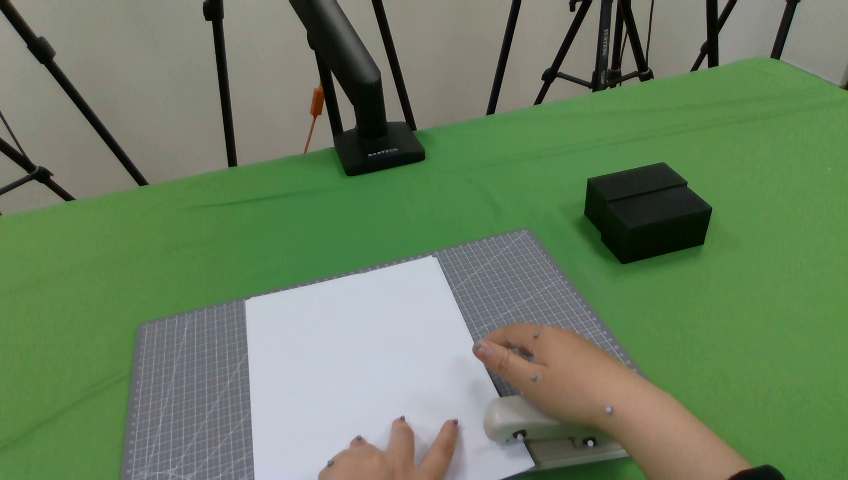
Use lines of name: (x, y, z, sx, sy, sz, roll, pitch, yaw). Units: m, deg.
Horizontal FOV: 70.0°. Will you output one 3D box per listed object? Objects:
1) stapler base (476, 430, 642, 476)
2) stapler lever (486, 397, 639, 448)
stapler base: (0.107, 0.157, 0.484, 0.131, 0.024, 0.041, -7, 40, -5)
stapler lever: (0.107, 0.137, 0.469, 0.118, 0.040, 0.026, -8, 40, -4)
